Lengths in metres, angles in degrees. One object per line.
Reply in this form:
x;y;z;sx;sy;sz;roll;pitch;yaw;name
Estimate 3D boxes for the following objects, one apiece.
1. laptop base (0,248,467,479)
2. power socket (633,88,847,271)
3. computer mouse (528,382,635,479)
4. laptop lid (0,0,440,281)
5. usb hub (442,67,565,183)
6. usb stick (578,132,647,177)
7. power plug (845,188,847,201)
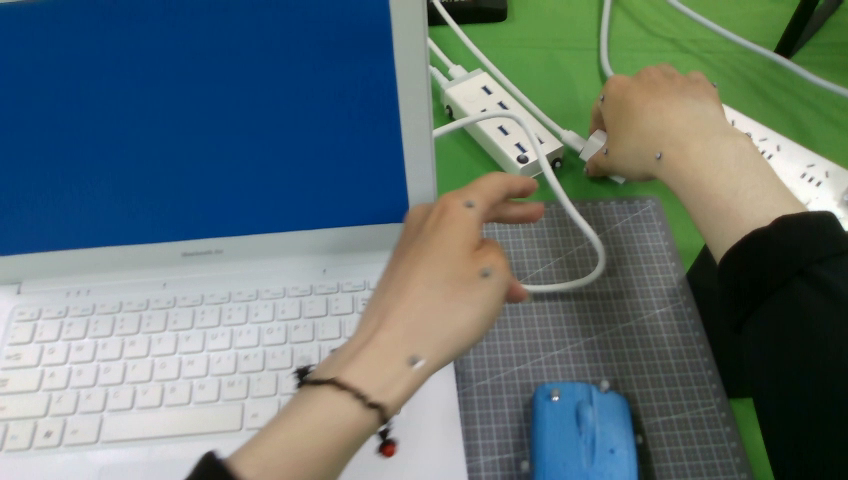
-0.153;0.120;0.403;0.354;0.023;0.233;-5;59;-2;laptop base
0.286;-0.055;0.505;0.072;0.033;0.225;-39;63;-23;power socket
0.094;0.139;0.368;0.062;0.041;0.116;6;51;9;computer mouse
-0.169;-0.066;0.389;0.357;0.244;0.013;-6;42;-1;laptop lid
0.068;-0.107;0.549;0.049;0.025;0.124;-28;59;-16;usb hub
0.164;-0.071;0.519;0.059;0.027;0.021;21;33;10;usb stick
0.358;-0.043;0.467;0.072;0.053;0.035;-31;59;-16;power plug
